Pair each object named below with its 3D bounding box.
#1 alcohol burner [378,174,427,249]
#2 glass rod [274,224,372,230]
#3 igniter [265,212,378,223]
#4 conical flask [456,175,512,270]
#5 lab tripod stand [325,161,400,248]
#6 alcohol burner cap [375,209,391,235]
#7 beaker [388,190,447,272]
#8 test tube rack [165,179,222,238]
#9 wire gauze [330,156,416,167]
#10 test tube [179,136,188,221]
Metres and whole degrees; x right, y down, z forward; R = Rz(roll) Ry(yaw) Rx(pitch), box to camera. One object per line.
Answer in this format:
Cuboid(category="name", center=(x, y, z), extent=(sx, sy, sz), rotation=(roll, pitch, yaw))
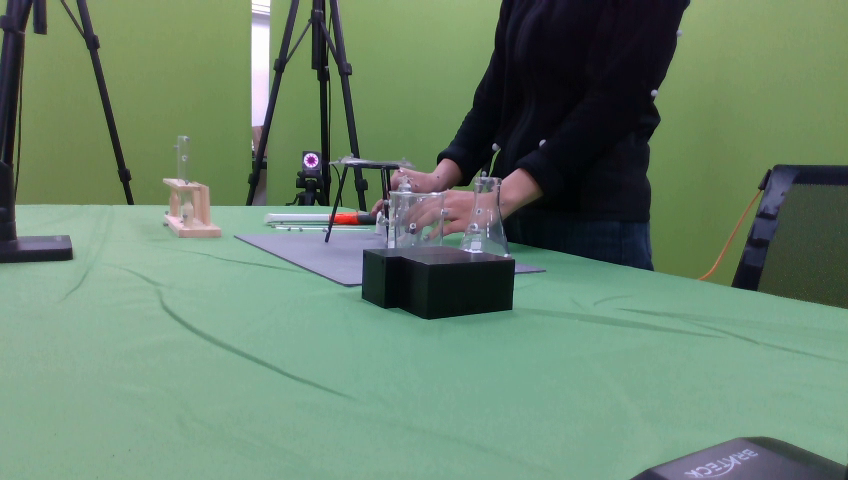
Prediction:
Cuboid(category="alcohol burner", center=(-0.033, -0.045, 0.961), extent=(0.078, 0.119, 0.078), rotation=(3, 9, 0))
Cuboid(category="glass rod", center=(-0.193, -0.024, 1.176), extent=(0.201, 0.008, 0.008), rotation=(1, 6, -31))
Cuboid(category="igniter", center=(-0.195, -0.048, 1.285), extent=(0.278, 0.025, 0.057), rotation=(-2, -2, -30))
Cuboid(category="conical flask", center=(0.082, -0.025, 0.801), extent=(0.075, 0.122, 0.075), rotation=(2, 7, 0))
Cuboid(category="lab tripod stand", center=(-0.083, -0.060, 0.976), extent=(0.148, 0.131, 0.148), rotation=(4, 8, 0))
Cuboid(category="alcohol burner cap", center=(-0.076, -0.035, 1.145), extent=(0.034, 0.048, 0.034), rotation=(2, 8, 0))
Cuboid(category="beaker", center=(-0.010, -0.013, 0.771), extent=(0.074, 0.100, 0.084), rotation=(3, 7, 4))
Cuboid(category="test tube rack", center=(-0.423, -0.062, 1.098), extent=(0.067, 0.085, 0.241), rotation=(-2, 9, -28))
Cuboid(category="wire gauze", center=(-0.079, -0.126, 0.972), extent=(0.121, 0.011, 0.125), rotation=(4, 8, 5))
Cuboid(category="test tube", center=(-0.425, -0.108, 1.070), extent=(0.017, 0.150, 0.017), rotation=(4, 9, 0))
